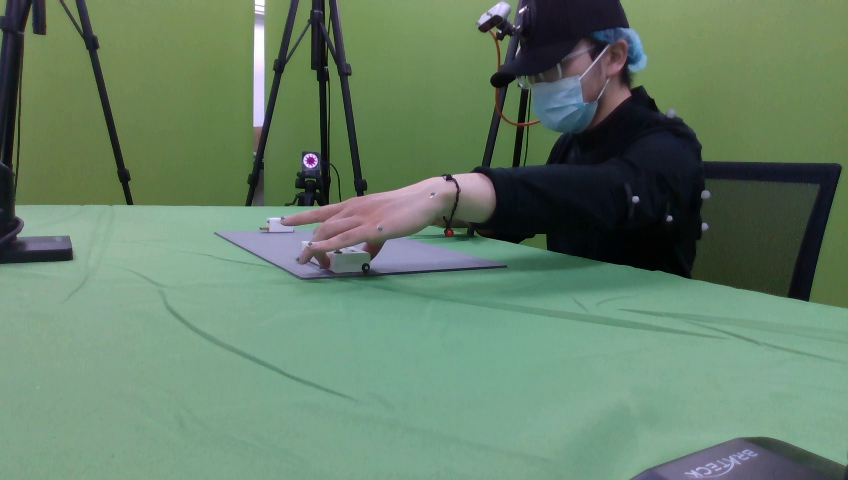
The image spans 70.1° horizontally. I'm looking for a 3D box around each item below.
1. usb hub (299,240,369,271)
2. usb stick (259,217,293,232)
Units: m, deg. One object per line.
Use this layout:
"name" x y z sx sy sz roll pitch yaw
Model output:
"usb hub" -0.120 0.019 0.783 0.050 0.025 0.124 -2 7 -31
"usb stick" -0.268 -0.028 1.094 0.059 0.027 0.021 -5 12 -32
